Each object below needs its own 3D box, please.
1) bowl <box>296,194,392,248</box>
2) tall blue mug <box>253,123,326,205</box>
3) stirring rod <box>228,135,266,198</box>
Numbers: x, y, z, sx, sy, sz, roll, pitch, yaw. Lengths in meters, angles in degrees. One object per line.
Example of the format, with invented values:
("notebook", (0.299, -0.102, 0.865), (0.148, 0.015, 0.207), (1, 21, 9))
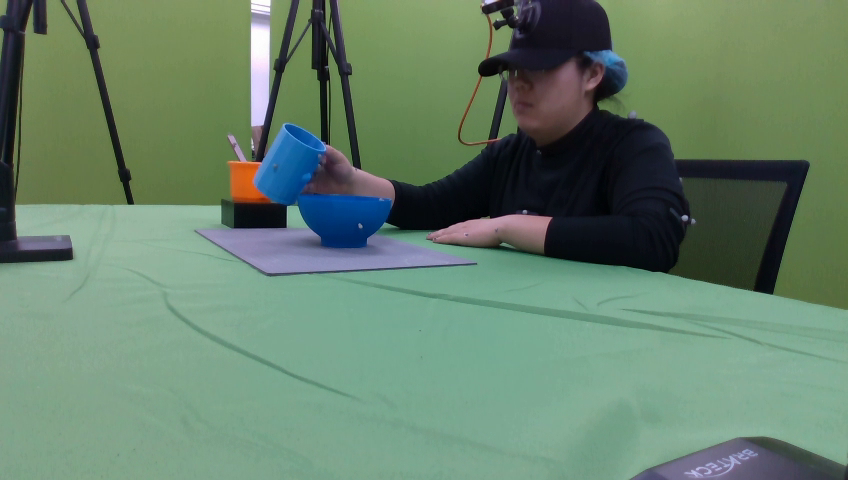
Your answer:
("bowl", (-0.127, -0.030, 0.964), (0.151, 0.077, 0.151), (2, 7, 0))
("tall blue mug", (-0.216, -0.127, 0.990), (0.078, 0.108, 0.107), (31, 19, -12))
("stirring rod", (-0.352, -0.148, 1.198), (0.014, 0.006, 0.175), (-6, 53, -44))
